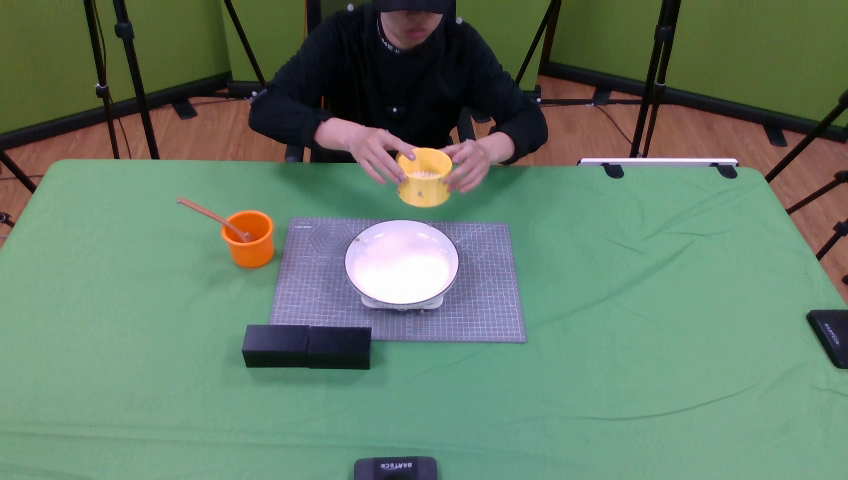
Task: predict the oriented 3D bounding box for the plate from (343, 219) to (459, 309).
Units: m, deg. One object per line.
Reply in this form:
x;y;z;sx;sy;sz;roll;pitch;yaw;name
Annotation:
-0.041;0.046;1.094;0.209;0.038;0.208;2;46;-1;plate

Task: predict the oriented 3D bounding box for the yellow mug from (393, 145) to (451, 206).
-0.013;-0.128;1.118;0.100;0.064;0.130;-33;54;-31;yellow mug

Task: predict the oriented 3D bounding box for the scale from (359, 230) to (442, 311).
-0.042;0.047;1.138;0.149;0.032;0.199;2;46;-3;scale

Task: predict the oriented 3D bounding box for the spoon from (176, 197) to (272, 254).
-0.362;-0.028;1.108;0.021;0.195;0.041;-35;36;24;spoon
